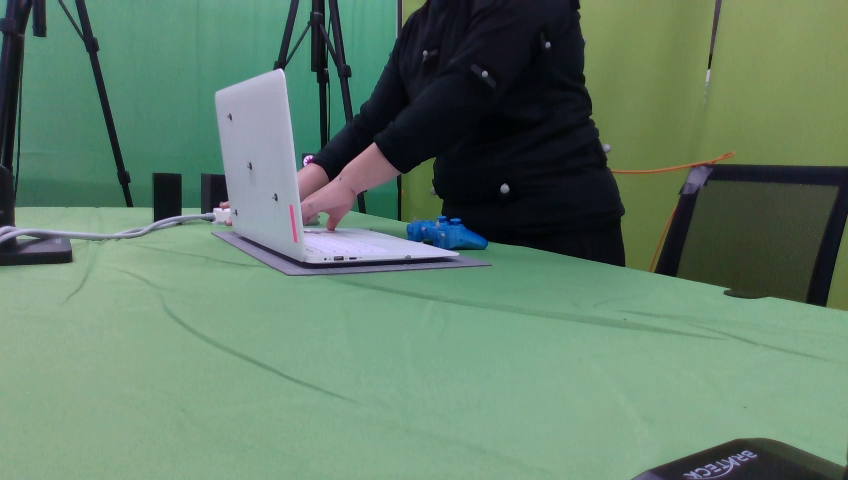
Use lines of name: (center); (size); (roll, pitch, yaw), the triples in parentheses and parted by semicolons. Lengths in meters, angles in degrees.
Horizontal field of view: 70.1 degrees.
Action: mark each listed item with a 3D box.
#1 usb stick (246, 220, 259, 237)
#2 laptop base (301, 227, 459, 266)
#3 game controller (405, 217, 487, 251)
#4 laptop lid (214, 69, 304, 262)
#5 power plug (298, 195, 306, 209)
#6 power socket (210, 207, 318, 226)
usb stick: (-0.306, -0.020, 1.077); (0.021, 0.027, 0.059); (1, -4, -16)
laptop base: (-0.137, 0.008, 0.950); (0.237, 0.023, 0.352); (1, 6, -32)
game controller: (0.033, -0.013, 1.066); (0.097, 0.051, 0.154); (-6, 10, -29)
laptop lid: (-0.247, -0.107, 0.865); (0.013, 0.241, 0.355); (-10, 14, -30)
power plug: (-0.283, -0.074, 1.341); (0.035, 0.052, 0.072); (-1, 3, -18)
power socket: (-0.335, -0.050, 1.280); (0.228, 0.032, 0.072); (-1, 9, -29)
